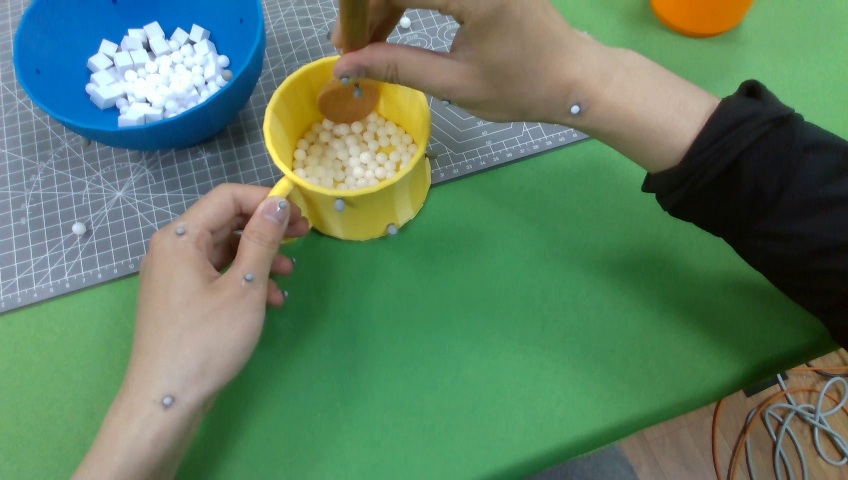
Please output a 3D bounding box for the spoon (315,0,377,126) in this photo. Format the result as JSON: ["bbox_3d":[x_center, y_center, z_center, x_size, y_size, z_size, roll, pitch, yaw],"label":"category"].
[{"bbox_3d":[-0.039,-0.092,0.319,0.042,0.193,0.021,-13,90,-9],"label":"spoon"}]

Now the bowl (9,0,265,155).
[{"bbox_3d":[-0.174,-0.111,0.402,0.151,0.077,0.150,0,66,0],"label":"bowl"}]

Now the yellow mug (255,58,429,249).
[{"bbox_3d":[-0.056,-0.045,0.381,0.099,0.064,0.130,37,72,14],"label":"yellow mug"}]
